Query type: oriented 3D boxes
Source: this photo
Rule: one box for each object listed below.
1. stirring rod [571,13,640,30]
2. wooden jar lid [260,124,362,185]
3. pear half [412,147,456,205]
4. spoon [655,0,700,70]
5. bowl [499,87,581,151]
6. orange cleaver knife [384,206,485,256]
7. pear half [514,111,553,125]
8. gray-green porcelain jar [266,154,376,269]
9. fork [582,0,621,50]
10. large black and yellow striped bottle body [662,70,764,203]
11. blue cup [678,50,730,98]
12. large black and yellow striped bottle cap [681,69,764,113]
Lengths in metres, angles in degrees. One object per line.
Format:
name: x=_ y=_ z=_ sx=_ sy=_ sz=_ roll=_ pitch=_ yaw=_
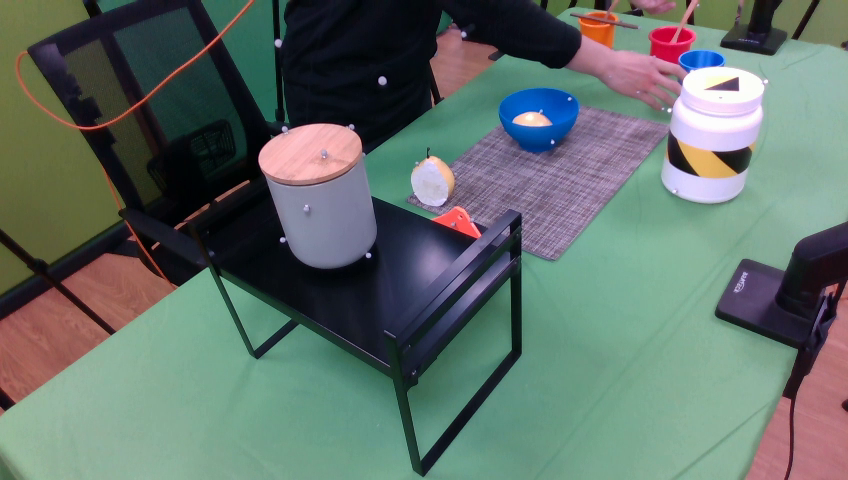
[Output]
stirring rod: x=0.419 y=-0.508 z=1.404 sx=0.174 sy=0.006 sz=0.014 roll=28 pitch=54 yaw=35
wooden jar lid: x=-0.119 y=-0.088 z=0.645 sx=0.108 sy=0.021 sz=0.108 roll=-4 pitch=40 yaw=4
pear half: x=0.019 y=-0.120 z=1.042 sx=0.076 sy=0.110 sz=0.056 roll=11 pitch=44 yaw=16
spoon: x=0.568 y=-0.463 z=1.337 sx=0.041 sy=0.022 sz=0.193 roll=30 pitch=97 yaw=38
bowl: x=0.220 y=-0.223 z=1.155 sx=0.151 sy=0.077 sz=0.150 roll=-4 pitch=40 yaw=4
orange cleaver knife: x=0.012 y=-0.010 z=0.942 sx=0.012 sy=0.077 sz=0.210 roll=-37 pitch=19 yaw=-35
pear half: x=0.214 y=-0.225 z=1.149 sx=0.087 sy=0.031 sz=0.070 roll=12 pitch=49 yaw=15
gray-green porcelain jar: x=-0.112 y=-0.039 z=0.685 sx=0.106 sy=0.127 sz=0.105 roll=-4 pitch=40 yaw=4
fork: x=0.446 y=-0.539 z=1.438 sx=0.207 sy=0.019 sz=0.028 roll=-57 pitch=35 yaw=12
large black and yellow striped bottle body: x=0.464 y=-0.166 z=0.976 sx=0.131 sy=0.185 sz=0.130 roll=-5 pitch=41 yaw=5
blue cup: x=0.543 y=-0.310 z=1.194 sx=0.092 sy=0.101 sz=0.092 roll=-6 pitch=41 yaw=6
large black and yellow striped bottle cap: x=0.453 y=-0.229 z=0.921 sx=0.115 sy=0.019 sz=0.114 roll=-4 pitch=39 yaw=4
